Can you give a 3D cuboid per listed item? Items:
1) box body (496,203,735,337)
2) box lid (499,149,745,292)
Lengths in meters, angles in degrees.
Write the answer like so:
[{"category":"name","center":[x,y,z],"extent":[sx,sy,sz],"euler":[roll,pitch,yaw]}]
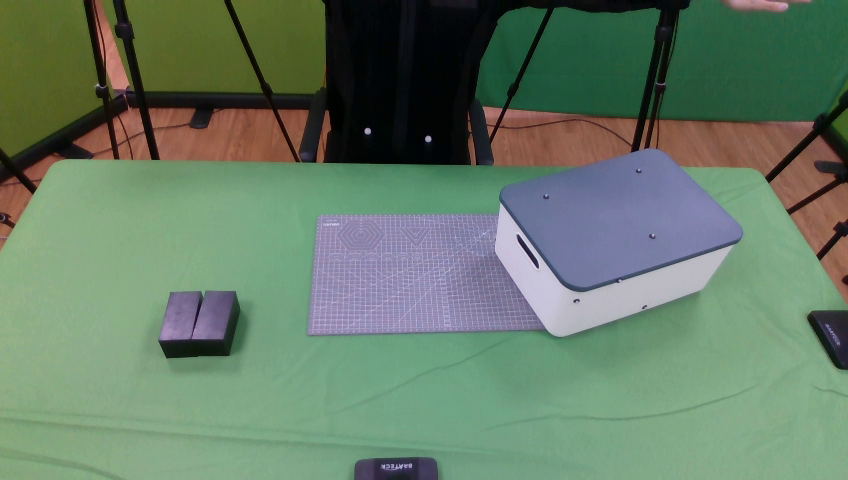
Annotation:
[{"category":"box body","center":[0.340,0.003,1.118],"extent":[0.364,0.161,0.252],"euler":[-15,49,-18]},{"category":"box lid","center":[0.341,-0.048,1.064],"extent":[0.372,0.015,0.261],"euler":[-15,49,-18]}]
